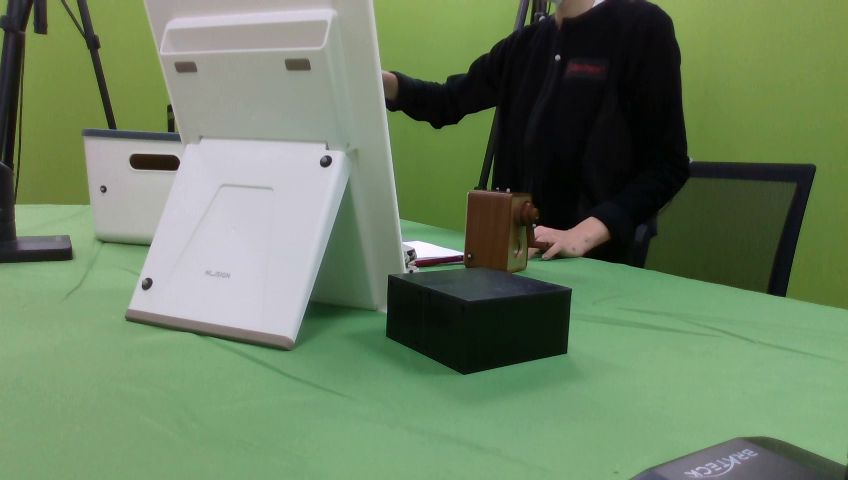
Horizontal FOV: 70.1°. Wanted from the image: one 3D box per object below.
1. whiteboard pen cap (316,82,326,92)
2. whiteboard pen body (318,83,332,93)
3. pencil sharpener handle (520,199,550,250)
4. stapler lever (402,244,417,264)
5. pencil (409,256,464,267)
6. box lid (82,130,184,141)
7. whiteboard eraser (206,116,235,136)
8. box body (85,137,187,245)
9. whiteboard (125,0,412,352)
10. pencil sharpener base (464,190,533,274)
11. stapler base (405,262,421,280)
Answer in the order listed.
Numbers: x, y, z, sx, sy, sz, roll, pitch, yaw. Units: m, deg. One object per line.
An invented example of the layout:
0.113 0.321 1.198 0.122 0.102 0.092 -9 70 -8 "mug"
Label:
-0.187 -0.278 1.104 0.018 0.018 0.033 2 12 -4 "whiteboard pen cap"
-0.192 -0.291 1.161 0.017 0.017 0.140 2 12 -3 "whiteboard pen body"
0.147 -0.019 0.785 0.030 0.068 0.036 8 25 36 "pencil sharpener handle"
-0.066 0.003 0.755 0.117 0.040 0.027 9 13 23 "stapler lever"
0.042 0.028 0.849 0.012 0.012 0.195 10 10 43 "pencil"
-0.337 -0.161 1.011 0.263 0.015 0.372 4 7 11 "box lid"
-0.450 -0.252 1.335 0.056 0.042 0.112 1 7 -22 "whiteboard eraser"
-0.340 -0.088 1.022 0.254 0.160 0.364 4 7 11 "box body"
-0.151 -0.049 0.472 0.216 0.305 0.144 6 27 24 "whiteboard"
0.102 -0.012 0.812 0.076 0.107 0.061 8 9 36 "pencil sharpener base"
-0.069 0.027 0.759 0.130 0.024 0.041 9 13 23 "stapler base"
